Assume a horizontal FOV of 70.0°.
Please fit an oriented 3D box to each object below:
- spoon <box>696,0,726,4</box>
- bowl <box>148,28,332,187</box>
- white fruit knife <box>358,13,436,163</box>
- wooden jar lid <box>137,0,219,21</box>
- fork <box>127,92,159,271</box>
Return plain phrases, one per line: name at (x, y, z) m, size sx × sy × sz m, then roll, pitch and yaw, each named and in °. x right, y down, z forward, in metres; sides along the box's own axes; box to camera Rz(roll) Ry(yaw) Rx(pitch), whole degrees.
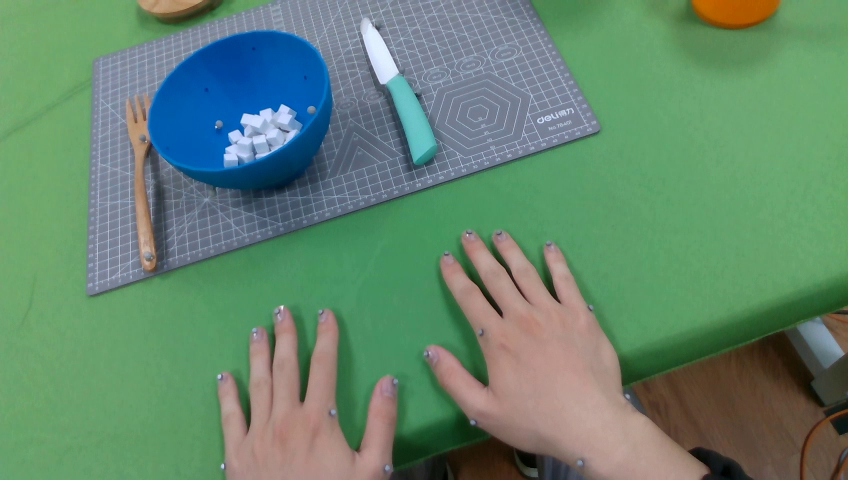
spoon at (0.307, -0.263, 0.489) m, size 0.022 × 0.194 × 0.041 m, roll 11°, pitch 56°, yaw -35°
bowl at (-0.142, -0.097, 0.514) m, size 0.151 × 0.077 × 0.150 m, roll -5°, pitch 60°, yaw 8°
white fruit knife at (-0.029, -0.149, 0.558) m, size 0.027 × 0.016 × 0.205 m, roll -14°, pitch 58°, yaw -13°
wooden jar lid at (-0.270, -0.286, 0.683) m, size 0.108 × 0.021 × 0.107 m, roll -4°, pitch 60°, yaw 7°
fork at (-0.252, -0.059, 0.547) m, size 0.028 × 0.019 × 0.205 m, roll -15°, pitch 57°, yaw -7°
